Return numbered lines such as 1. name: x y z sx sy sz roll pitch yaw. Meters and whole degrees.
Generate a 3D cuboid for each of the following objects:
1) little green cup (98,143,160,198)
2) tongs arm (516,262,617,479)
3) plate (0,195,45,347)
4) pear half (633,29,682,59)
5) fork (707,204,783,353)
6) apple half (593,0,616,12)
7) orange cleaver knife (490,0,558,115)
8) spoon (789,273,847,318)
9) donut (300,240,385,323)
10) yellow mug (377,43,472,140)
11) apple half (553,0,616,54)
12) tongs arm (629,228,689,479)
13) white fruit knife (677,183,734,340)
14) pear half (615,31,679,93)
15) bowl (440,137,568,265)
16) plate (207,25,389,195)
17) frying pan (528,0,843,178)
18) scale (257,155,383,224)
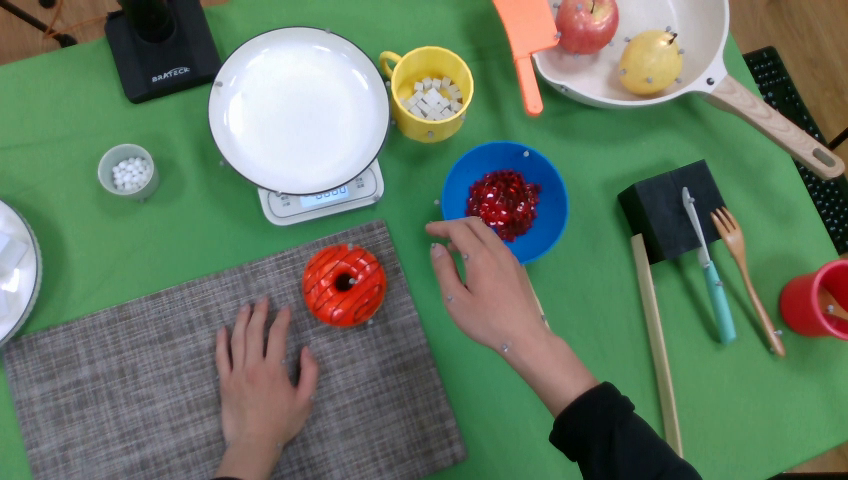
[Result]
1. little green cup: -0.343 -0.079 0.710 0.061 0.039 0.061 1 78 -5
2. tongs arm: 0.203 0.195 0.719 0.051 0.026 0.383 -19 83 -14
3. plate: -0.525 0.040 0.667 0.208 0.039 0.206 1 79 -6
4. pear half: 0.298 -0.254 0.783 0.070 0.088 0.031 11 77 2
5. fork: 0.403 0.050 0.753 0.028 0.018 0.208 -29 99 -12
6. apple half: 0.214 -0.308 0.791 0.081 0.081 0.032 21 80 -1
7. orange cleaver knife: 0.124 -0.257 0.744 0.077 0.012 0.210 -15 81 -6
8. spoon: 0.517 0.100 0.715 0.041 0.022 0.191 -24 38 -11
9. donut: -0.095 0.048 0.705 0.099 0.048 0.098 1 80 -4
10. yellow mug: -0.007 -0.192 0.754 0.131 0.064 0.100 37 78 3
11. apple half: 0.201 -0.272 0.784 0.081 0.074 0.053 23 81 -4
12. tongs arm: 0.285 0.176 0.736 0.028 0.028 0.386 -3 80 -15
13. white fruit knife: 0.344 0.029 0.743 0.016 0.027 0.208 -21 97 -9
14. pear half: 0.285 -0.224 0.766 0.076 0.110 0.056 16 78 1
15. bowl: 0.088 -0.039 0.730 0.151 0.077 0.150 1 80 -6
16. plate: -0.145 -0.151 0.715 0.209 0.038 0.208 1 79 -6
17. frying pan: 0.321 -0.237 0.780 0.486 0.103 0.306 42 79 11
18. scale: -0.143 -0.130 0.745 0.149 0.031 0.200 -15 81 -9
